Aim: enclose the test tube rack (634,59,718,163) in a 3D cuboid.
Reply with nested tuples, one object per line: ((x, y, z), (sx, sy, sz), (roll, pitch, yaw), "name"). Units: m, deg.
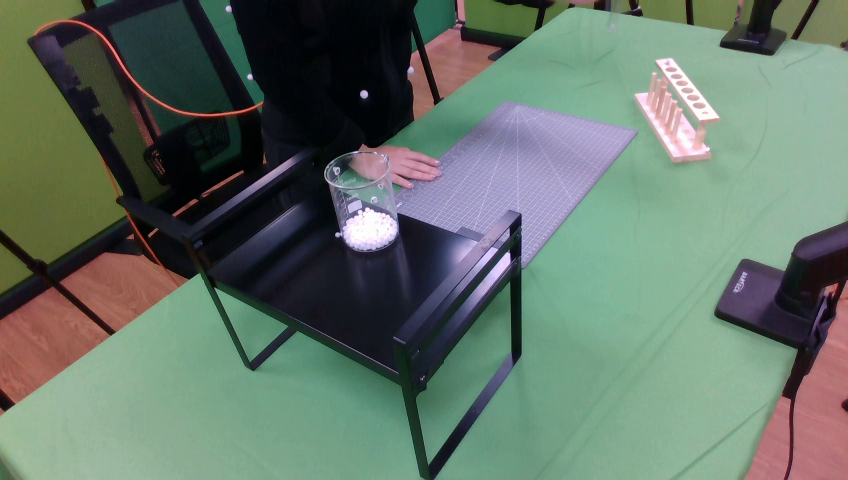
((0.470, -0.250, 1.148), (0.067, 0.085, 0.241), (-6, 40, 3), "test tube rack")

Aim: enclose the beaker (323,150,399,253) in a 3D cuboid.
((-0.067, -0.043, 0.699), (0.073, 0.101, 0.084), (28, 51, 35), "beaker")

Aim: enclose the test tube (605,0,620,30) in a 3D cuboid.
((0.328, -0.430, 1.017), (0.017, 0.150, 0.017), (2, 35, -1), "test tube")
